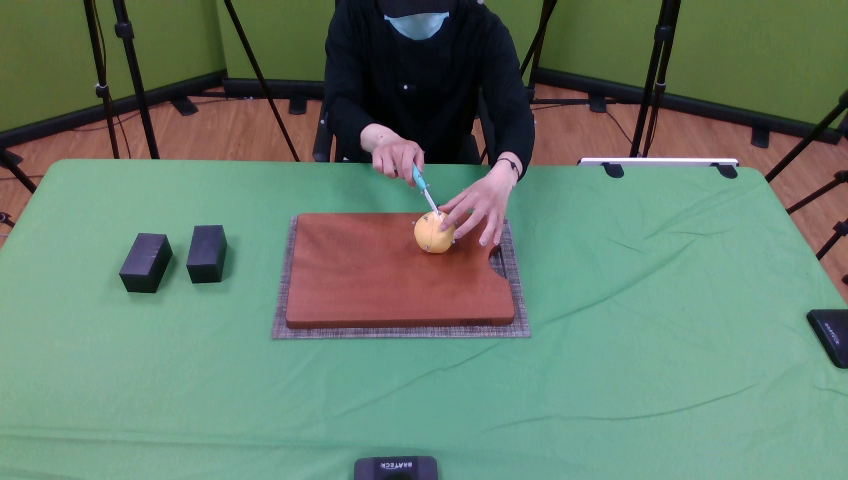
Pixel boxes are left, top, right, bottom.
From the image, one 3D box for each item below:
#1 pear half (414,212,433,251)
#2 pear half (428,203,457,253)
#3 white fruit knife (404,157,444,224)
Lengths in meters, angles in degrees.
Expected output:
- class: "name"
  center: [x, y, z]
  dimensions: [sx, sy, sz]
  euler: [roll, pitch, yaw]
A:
- class: "pear half"
  center: [-0.002, -0.019, 1.126]
  dimensions: [0.031, 0.088, 0.070]
  euler: [-6, 53, -10]
- class: "pear half"
  center: [0.034, -0.028, 1.123]
  dimensions: [0.056, 0.110, 0.076]
  euler: [-5, 50, -8]
- class: "white fruit knife"
  center: [0.000, -0.096, 1.128]
  dimensions: [0.016, 0.027, 0.206]
  euler: [-18, 45, -11]
